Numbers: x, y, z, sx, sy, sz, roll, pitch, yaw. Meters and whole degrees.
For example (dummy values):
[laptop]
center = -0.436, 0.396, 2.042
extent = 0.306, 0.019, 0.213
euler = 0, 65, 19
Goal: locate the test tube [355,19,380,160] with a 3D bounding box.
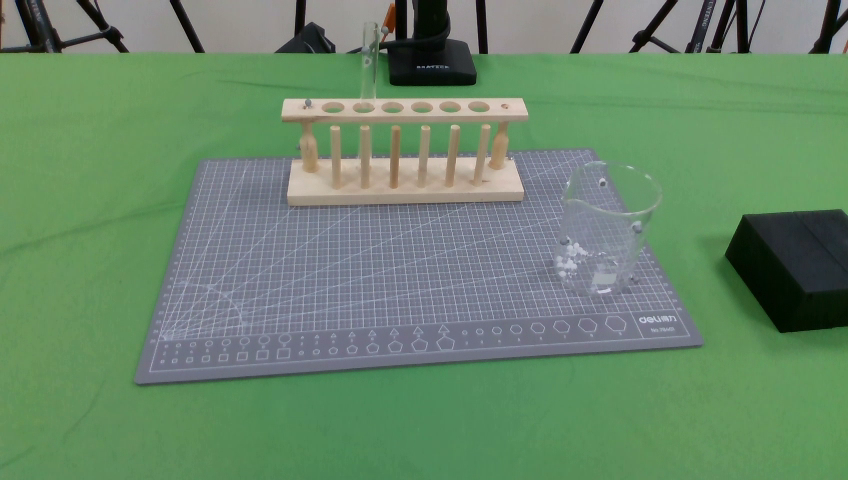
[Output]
[test tube]
center = -0.057, -0.141, 0.596
extent = 0.017, 0.151, 0.017
euler = 6, 40, -4

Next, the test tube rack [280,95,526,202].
[test tube rack]
center = -0.020, -0.094, 0.620
extent = 0.243, 0.086, 0.066
euler = -1, 42, -5

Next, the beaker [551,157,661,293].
[beaker]
center = 0.150, -0.010, 0.525
extent = 0.084, 0.101, 0.073
euler = -8, 42, -11
